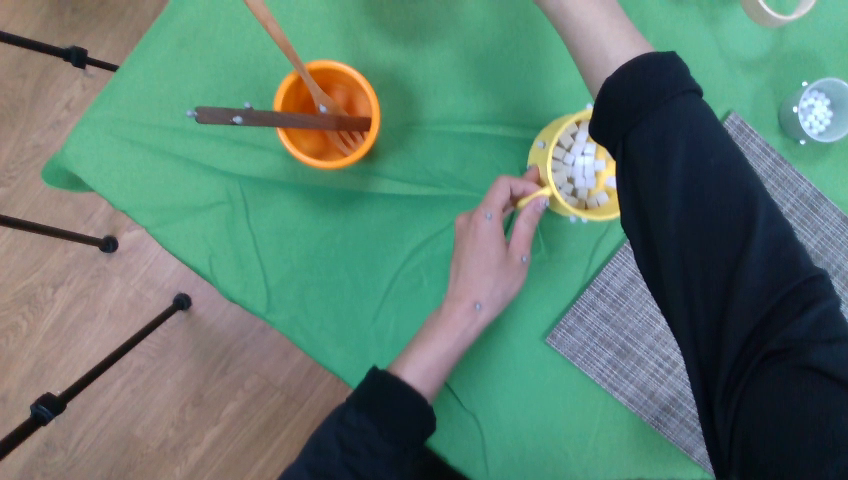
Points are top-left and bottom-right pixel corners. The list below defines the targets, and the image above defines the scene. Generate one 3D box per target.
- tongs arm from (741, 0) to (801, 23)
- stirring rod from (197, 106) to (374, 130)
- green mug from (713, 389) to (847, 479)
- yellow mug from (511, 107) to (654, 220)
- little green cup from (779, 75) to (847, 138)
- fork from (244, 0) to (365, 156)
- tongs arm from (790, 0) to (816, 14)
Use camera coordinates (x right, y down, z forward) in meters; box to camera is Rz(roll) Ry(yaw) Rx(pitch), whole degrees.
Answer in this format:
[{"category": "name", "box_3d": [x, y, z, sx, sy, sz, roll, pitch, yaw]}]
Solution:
[{"category": "tongs arm", "box_3d": [0.243, -0.373, 0.536, 0.051, 0.026, 0.385, -23, 95, -4]}, {"category": "stirring rod", "box_3d": [-0.112, -0.105, 0.527, 0.177, 0.006, 0.014, -8, 100, -45]}, {"category": "green mug", "box_3d": [0.368, 0.196, 0.606, 0.125, 0.104, 0.093, -35, 96, 1]}, {"category": "yellow mug", "box_3d": [0.141, -0.063, 0.569, 0.131, 0.064, 0.100, -29, 99, -1]}, {"category": "little green cup", "box_3d": [0.391, -0.131, 0.605, 0.061, 0.038, 0.061, 0, 97, -2]}, {"category": "fork", "box_3d": [-0.105, -0.146, 0.516, 0.028, 0.018, 0.209, -36, 140, -2]}, {"category": "tongs arm", "box_3d": [0.323, -0.398, 0.540, 0.028, 0.027, 0.388, -9, 95, -8]}]
